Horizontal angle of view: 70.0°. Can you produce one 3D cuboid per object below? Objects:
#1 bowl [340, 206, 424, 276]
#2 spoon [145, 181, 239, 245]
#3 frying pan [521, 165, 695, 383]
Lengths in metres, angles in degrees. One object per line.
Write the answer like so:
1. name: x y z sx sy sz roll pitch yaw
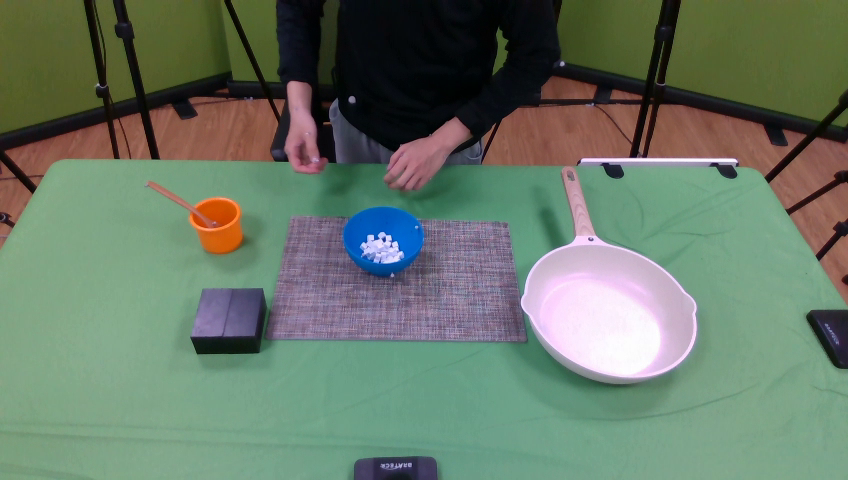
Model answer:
1. bowl: -0.079 0.014 1.133 0.151 0.077 0.150 2 46 -2
2. spoon: -0.429 -0.052 1.126 0.021 0.195 0.041 -27 34 33
3. frying pan: 0.312 0.044 1.123 0.307 0.103 0.484 1 55 -5
